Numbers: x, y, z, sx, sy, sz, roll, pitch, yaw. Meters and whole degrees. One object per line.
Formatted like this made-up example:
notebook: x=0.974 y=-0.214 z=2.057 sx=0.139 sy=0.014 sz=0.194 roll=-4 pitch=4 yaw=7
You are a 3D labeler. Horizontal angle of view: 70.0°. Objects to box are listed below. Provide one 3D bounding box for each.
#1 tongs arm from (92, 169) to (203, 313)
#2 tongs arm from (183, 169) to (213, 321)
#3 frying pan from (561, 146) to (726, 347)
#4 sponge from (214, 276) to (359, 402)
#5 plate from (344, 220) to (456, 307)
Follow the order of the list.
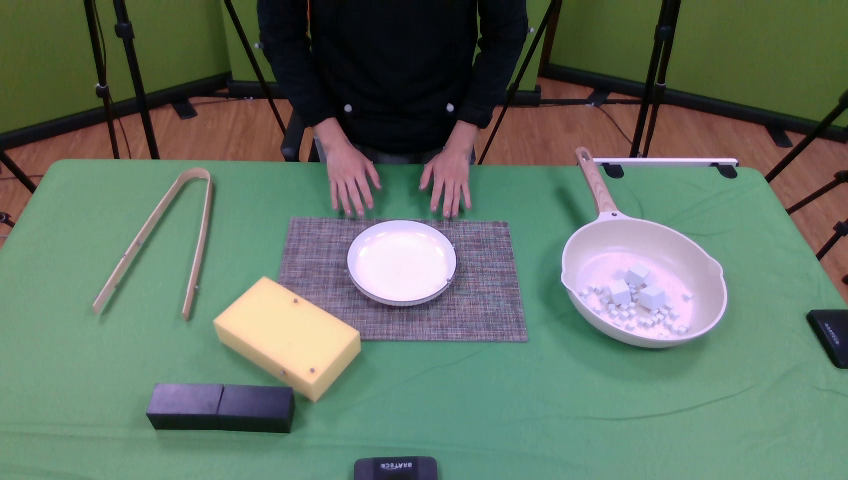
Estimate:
tongs arm: x=-0.517 y=-0.012 z=1.160 sx=0.051 sy=0.026 sz=0.382 roll=7 pitch=45 yaw=1
tongs arm: x=-0.436 y=-0.005 z=1.166 sx=0.028 sy=0.028 sz=0.385 roll=-5 pitch=46 yaw=-6
frying pan: x=0.378 y=-0.005 z=1.175 sx=0.307 sy=0.103 sz=0.484 roll=-4 pitch=55 yaw=-9
sponge: x=-0.224 y=0.158 z=0.998 sx=0.206 sy=0.061 sz=0.118 roll=27 pitch=52 yaw=18
plate: x=-0.044 y=0.047 z=1.133 sx=0.208 sy=0.039 sz=0.206 roll=3 pitch=46 yaw=-2
